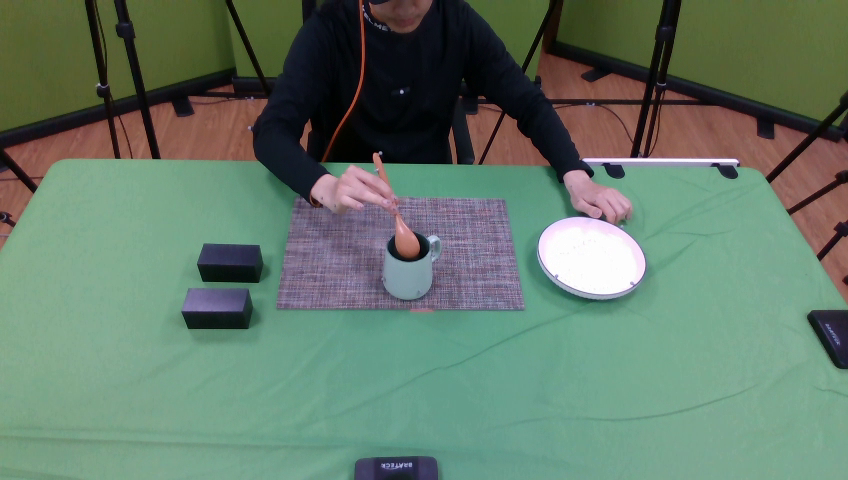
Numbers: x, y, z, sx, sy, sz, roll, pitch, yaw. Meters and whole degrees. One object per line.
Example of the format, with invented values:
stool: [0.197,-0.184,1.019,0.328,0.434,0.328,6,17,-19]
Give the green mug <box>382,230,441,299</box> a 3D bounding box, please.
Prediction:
green mug: [-0.017,0.037,1.097,0.125,0.105,0.092,-34,57,-31]

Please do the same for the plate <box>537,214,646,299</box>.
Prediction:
plate: [0.321,0.035,1.176,0.209,0.038,0.208,2,47,-2]

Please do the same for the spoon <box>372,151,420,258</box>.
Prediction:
spoon: [-0.054,-0.060,1.043,0.041,0.021,0.193,-20,90,12]
